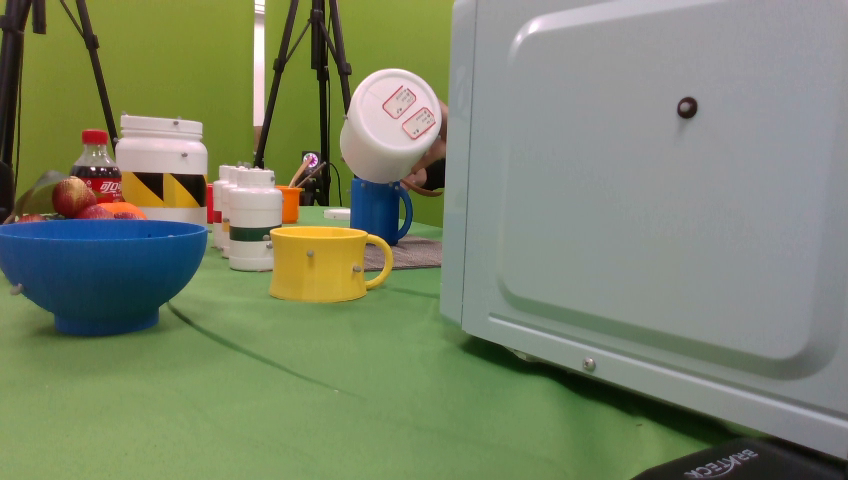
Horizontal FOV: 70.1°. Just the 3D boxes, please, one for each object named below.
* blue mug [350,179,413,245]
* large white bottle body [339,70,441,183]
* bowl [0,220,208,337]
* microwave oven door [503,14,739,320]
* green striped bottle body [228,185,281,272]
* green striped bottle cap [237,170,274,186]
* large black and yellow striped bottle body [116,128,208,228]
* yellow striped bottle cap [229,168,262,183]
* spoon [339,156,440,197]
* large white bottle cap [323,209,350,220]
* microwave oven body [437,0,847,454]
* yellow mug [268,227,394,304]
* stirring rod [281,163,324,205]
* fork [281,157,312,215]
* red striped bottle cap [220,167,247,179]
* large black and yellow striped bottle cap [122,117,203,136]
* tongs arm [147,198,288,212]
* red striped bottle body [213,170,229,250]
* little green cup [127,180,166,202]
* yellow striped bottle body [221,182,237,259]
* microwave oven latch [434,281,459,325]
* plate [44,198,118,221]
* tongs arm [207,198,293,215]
[{"bbox_3d":[-0.068,-0.047,1.001,0.116,0.106,0.083,6,8,29],"label":"blue mug"},{"bbox_3d":[-0.058,-0.160,0.915,0.131,0.130,0.184,1,-10,-14],"label":"large white bottle body"},{"bbox_3d":[-0.251,0.030,0.479,0.151,0.077,0.151,2,7,0],"label":"bowl"},{"bbox_3d":[0.218,-0.065,0.601,0.358,0.243,0.039,-4,10,-41],"label":"microwave oven door"},{"bbox_3d":[-0.208,-0.024,0.745,0.063,0.119,0.063,2,7,0],"label":"green striped bottle body"},{"bbox_3d":[-0.205,-0.075,0.737,0.044,0.020,0.044,1,6,0],"label":"green striped bottle cap"},{"bbox_3d":[-0.404,-0.089,0.937,0.131,0.184,0.130,3,7,0],"label":"large black and yellow striped bottle body"},{"bbox_3d":[-0.240,-0.087,0.816,0.044,0.018,0.044,-2,5,1],"label":"yellow striped bottle cap"},{"bbox_3d":[-0.059,-0.114,1.080,0.194,0.021,0.041,23,1,-8],"label":"spoon"},{"bbox_3d":[-0.184,-0.062,1.449,0.115,0.018,0.115,2,8,0],"label":"large white bottle cap"},{"bbox_3d":[0.279,-0.040,0.464,0.444,0.260,0.324,-3,9,-41],"label":"microwave oven body"},{"bbox_3d":[-0.094,0.023,0.629,0.131,0.064,0.099,0,7,-22],"label":"yellow mug"},{"bbox_3d":[-0.278,-0.105,1.293,0.176,0.006,0.014,-47,25,-18],"label":"stirring rod"},{"bbox_3d":[-0.290,-0.116,1.321,0.028,0.019,0.207,6,51,18],"label":"fork"},{"bbox_3d":[-0.281,-0.099,0.901,0.044,0.017,0.044,-1,5,0],"label":"red striped bottle cap"},{"bbox_3d":[-0.399,-0.174,0.927,0.115,0.019,0.115,5,9,-1],"label":"large black and yellow striped bottle cap"},{"bbox_3d":[-0.503,-0.090,1.513,0.028,0.028,0.389,-1,3,38],"label":"tongs arm"},{"bbox_3d":[-0.283,-0.047,0.909,0.063,0.119,0.063,3,14,0],"label":"red striped bottle body"},{"bbox_3d":[-0.485,-0.087,1.062,0.061,0.038,0.061,0,6,0],"label":"little green cup"},{"bbox_3d":[-0.244,-0.035,0.823,0.063,0.120,0.063,2,8,0],"label":"yellow striped bottle body"},{"bbox_3d":[0.044,0.045,0.470,0.079,0.029,0.030,-2,8,-39],"label":"microwave oven latch"},{"bbox_3d":[-0.617,-0.056,1.179,0.209,0.038,0.209,3,7,0],"label":"plate"},{"bbox_3d":[-0.423,-0.084,1.472,0.050,0.026,0.386,1,6,22],"label":"tongs arm"}]
